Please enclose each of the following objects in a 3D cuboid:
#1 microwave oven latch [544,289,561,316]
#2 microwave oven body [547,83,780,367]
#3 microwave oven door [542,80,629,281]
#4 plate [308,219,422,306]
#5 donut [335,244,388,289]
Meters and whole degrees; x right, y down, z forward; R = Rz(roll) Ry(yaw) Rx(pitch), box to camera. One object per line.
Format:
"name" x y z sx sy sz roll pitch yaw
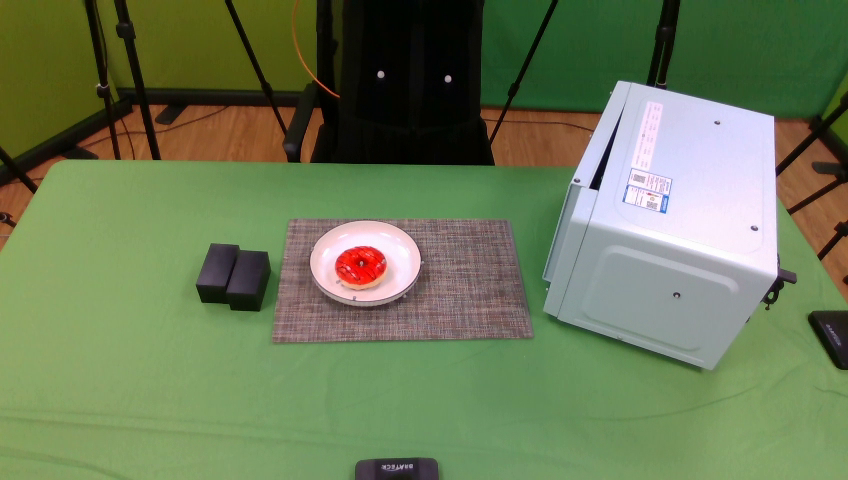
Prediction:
"microwave oven latch" 0.237 0.099 1.087 0.030 0.029 0.079 17 47 14
"microwave oven body" 0.445 -0.041 1.101 0.325 0.261 0.440 17 47 13
"microwave oven door" 0.315 -0.119 1.158 0.039 0.245 0.354 20 48 15
"plate" -0.110 0.044 1.132 0.209 0.038 0.208 2 46 -2
"donut" -0.115 0.047 1.113 0.099 0.048 0.098 1 45 -1
